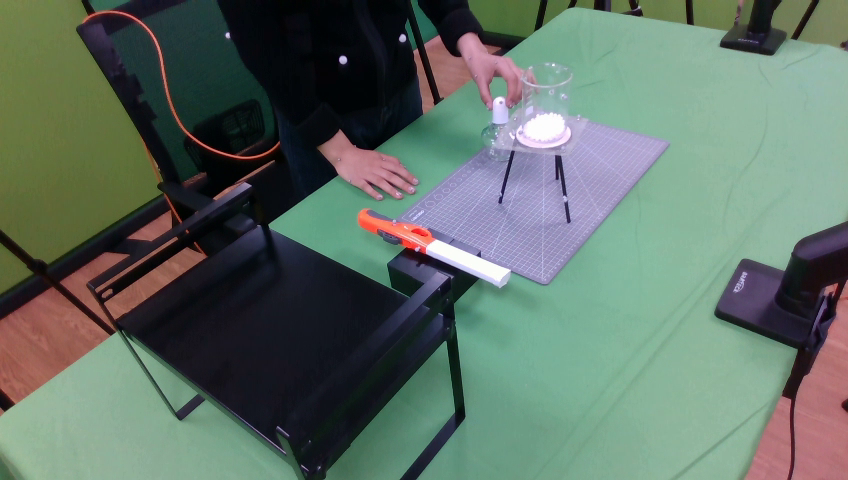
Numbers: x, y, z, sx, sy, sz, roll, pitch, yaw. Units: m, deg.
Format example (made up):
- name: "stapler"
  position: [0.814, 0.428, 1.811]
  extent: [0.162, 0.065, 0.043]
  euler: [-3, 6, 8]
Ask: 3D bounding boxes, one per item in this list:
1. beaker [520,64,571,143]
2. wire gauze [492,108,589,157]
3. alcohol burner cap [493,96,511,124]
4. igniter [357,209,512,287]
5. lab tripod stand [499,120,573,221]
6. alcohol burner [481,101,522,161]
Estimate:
- name: "beaker"
  position: [0.187, -0.208, 0.924]
  extent: [0.073, 0.101, 0.084]
  euler: [23, 49, 30]
- name: "wire gauze"
  position: [0.185, -0.169, 0.954]
  extent: [0.121, 0.011, 0.125]
  euler: [13, 46, 22]
- name: "alcohol burner cap"
  position: [0.142, -0.239, 1.103]
  extent: [0.034, 0.048, 0.033]
  euler: [-3, 38, 2]
- name: "igniter"
  position: [0.004, 0.006, 0.891]
  extent: [0.274, 0.025, 0.057]
  euler: [23, 38, 30]
- name: "lab tripod stand"
  position: [0.198, -0.117, 0.992]
  extent: [0.148, 0.132, 0.147]
  euler: [-3, 40, 3]
- name: "alcohol burner"
  position: [0.143, -0.208, 1.124]
  extent: [0.078, 0.119, 0.077]
  euler: [-6, 39, 5]
